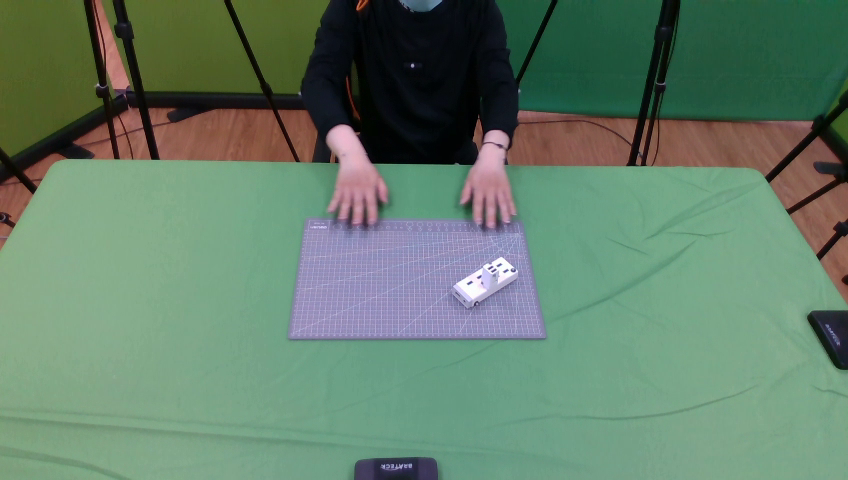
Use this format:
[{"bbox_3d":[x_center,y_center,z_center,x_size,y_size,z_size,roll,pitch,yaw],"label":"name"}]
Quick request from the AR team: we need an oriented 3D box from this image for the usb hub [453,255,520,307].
[{"bbox_3d":[0.117,0.076,1.122,0.125,0.025,0.049,-28,55,-26],"label":"usb hub"}]

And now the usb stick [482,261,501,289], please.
[{"bbox_3d":[0.120,0.067,1.090,0.021,0.059,0.027,-30,57,-28],"label":"usb stick"}]
